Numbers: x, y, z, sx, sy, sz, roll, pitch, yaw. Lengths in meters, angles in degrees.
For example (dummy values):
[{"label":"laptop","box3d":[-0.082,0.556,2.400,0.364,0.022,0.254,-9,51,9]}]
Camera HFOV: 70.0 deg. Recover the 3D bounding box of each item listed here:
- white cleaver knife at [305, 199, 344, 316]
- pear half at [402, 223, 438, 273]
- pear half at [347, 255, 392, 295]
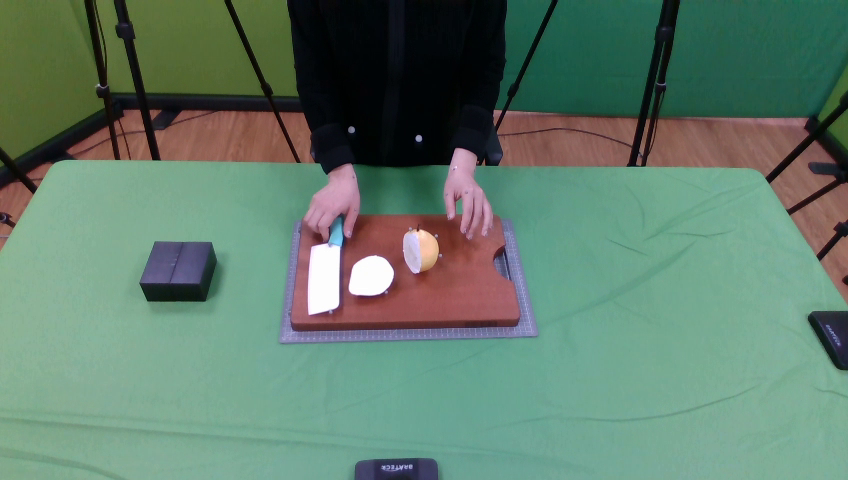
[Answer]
[{"label":"white cleaver knife","box3d":[-0.185,0.022,1.123,0.066,0.021,0.284,-7,45,2]},{"label":"pear half","box3d":[-0.003,0.005,1.093,0.056,0.110,0.076,-24,56,-24]},{"label":"pear half","box3d":[-0.099,0.069,1.075,0.088,0.031,0.070,-39,75,-17]}]
